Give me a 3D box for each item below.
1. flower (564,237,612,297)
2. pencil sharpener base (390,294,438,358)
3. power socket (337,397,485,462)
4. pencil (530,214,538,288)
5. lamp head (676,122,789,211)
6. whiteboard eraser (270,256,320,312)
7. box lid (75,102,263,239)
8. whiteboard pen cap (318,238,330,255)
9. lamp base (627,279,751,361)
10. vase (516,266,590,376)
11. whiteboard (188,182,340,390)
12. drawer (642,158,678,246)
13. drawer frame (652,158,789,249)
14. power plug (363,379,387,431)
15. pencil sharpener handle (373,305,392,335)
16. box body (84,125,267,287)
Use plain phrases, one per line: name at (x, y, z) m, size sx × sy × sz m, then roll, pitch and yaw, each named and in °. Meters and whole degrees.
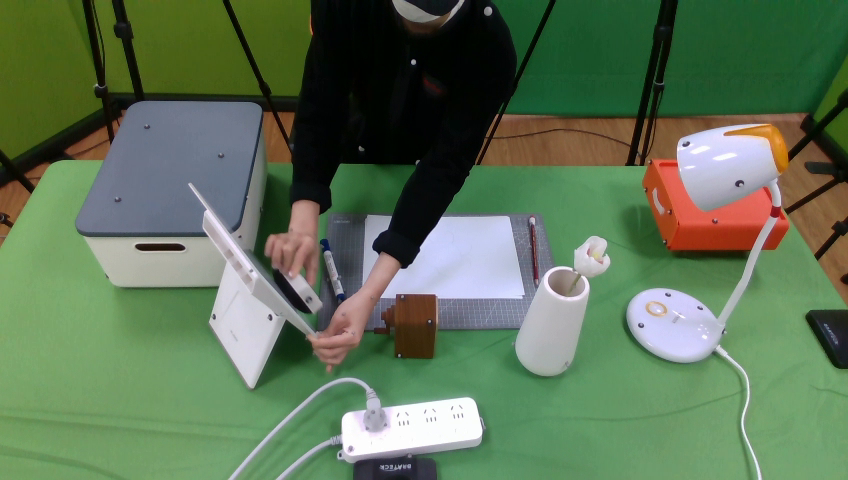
flower at (0.206, 0.088, 0.893) m, size 0.038 × 0.363 × 0.044 m, roll -17°, pitch 67°, yaw -9°
pencil sharpener base at (-0.018, 0.143, 1.000) m, size 0.077 × 0.107 × 0.061 m, roll 1°, pitch 46°, yaw -2°
power socket at (-0.018, 0.285, 0.915) m, size 0.227 × 0.033 × 0.071 m, roll -5°, pitch 46°, yaw -8°
pencil at (0.218, 0.019, 1.201) m, size 0.012 × 0.012 × 0.193 m, roll 5°, pitch 48°, yaw 1°
lamp head at (0.423, -0.104, 0.819) m, size 0.122 × 0.113 × 0.112 m, roll -13°, pitch 33°, yaw 40°
whiteboard eraser at (-0.212, 0.073, 0.978) m, size 0.042 × 0.056 × 0.112 m, roll -40°, pitch 39°, yaw -10°
box lid at (-0.443, -0.138, 1.094) m, size 0.263 × 0.015 × 0.369 m, roll -1°, pitch 47°, yaw -5°
whiteboard pen cap at (-0.191, 0.013, 1.163) m, size 0.018 × 0.018 × 0.033 m, roll -13°, pitch 50°, yaw -16°
lamp base at (0.459, 0.100, 1.027) m, size 0.178 × 0.181 × 0.160 m, roll 27°, pitch 51°, yaw 17°
vase at (0.208, 0.132, 0.964) m, size 0.098 × 0.201 × 0.097 m, roll 3°, pitch 46°, yaw -3°
whiteboard at (-0.292, 0.096, 0.929) m, size 0.144 × 0.307 × 0.216 m, roll -38°, pitch 57°, yaw -10°
drawer at (0.566, -0.076, 1.211) m, size 0.212 × 0.073 × 0.193 m, roll 2°, pitch 45°, yaw -2°
drawer frame at (0.571, -0.075, 1.214) m, size 0.214 × 0.083 × 0.200 m, roll 0°, pitch 45°, yaw -1°
power plug at (-0.072, 0.252, 0.910) m, size 0.035 × 0.053 × 0.072 m, roll 3°, pitch 44°, yaw -1°
pencil sharpener handle at (-0.068, 0.133, 0.989) m, size 0.030 × 0.068 × 0.036 m, roll 1°, pitch 46°, yaw -2°
box body at (-0.446, -0.088, 1.150) m, size 0.254 × 0.161 × 0.361 m, roll -1°, pitch 46°, yaw -5°
